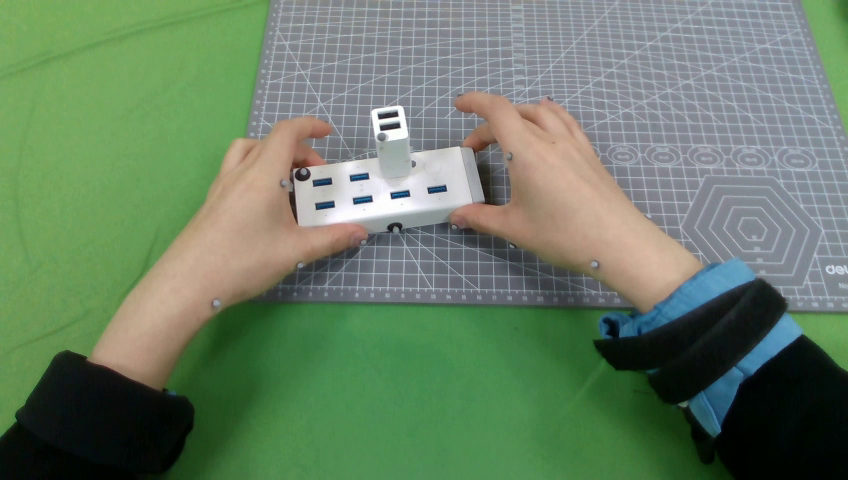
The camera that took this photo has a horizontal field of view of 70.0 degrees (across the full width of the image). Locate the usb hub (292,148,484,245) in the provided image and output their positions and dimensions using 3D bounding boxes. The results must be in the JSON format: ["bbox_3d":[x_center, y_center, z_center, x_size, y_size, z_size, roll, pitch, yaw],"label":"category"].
[{"bbox_3d":[-0.025,-0.031,0.415,0.125,0.025,0.049,-8,63,-5],"label":"usb hub"}]

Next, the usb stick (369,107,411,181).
[{"bbox_3d":[-0.021,-0.058,0.395,0.021,0.059,0.027,-11,63,-4],"label":"usb stick"}]
